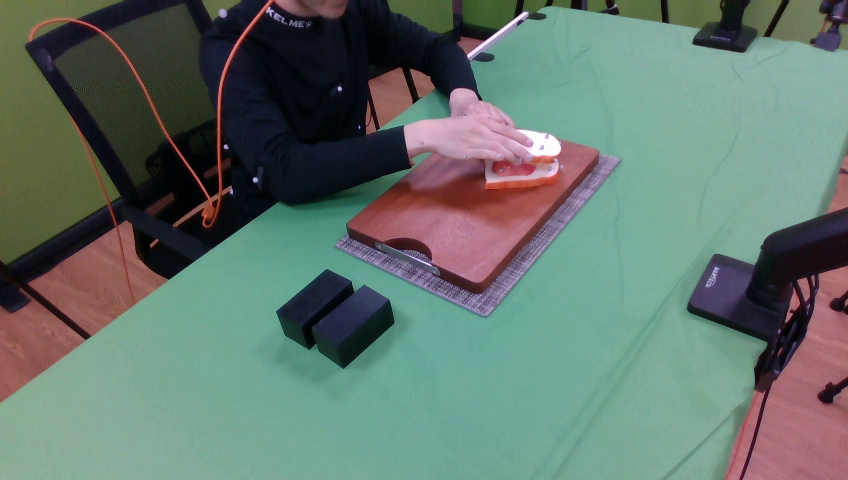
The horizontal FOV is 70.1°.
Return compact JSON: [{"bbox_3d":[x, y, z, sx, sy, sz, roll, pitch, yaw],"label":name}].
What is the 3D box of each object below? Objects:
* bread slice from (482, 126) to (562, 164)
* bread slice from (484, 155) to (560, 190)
[{"bbox_3d":[0.165,-0.161,1.025,0.134,0.018,0.106,3,35,-4],"label":"bread slice"},{"bbox_3d":[0.170,-0.128,1.054,0.131,0.019,0.104,-3,42,5],"label":"bread slice"}]
